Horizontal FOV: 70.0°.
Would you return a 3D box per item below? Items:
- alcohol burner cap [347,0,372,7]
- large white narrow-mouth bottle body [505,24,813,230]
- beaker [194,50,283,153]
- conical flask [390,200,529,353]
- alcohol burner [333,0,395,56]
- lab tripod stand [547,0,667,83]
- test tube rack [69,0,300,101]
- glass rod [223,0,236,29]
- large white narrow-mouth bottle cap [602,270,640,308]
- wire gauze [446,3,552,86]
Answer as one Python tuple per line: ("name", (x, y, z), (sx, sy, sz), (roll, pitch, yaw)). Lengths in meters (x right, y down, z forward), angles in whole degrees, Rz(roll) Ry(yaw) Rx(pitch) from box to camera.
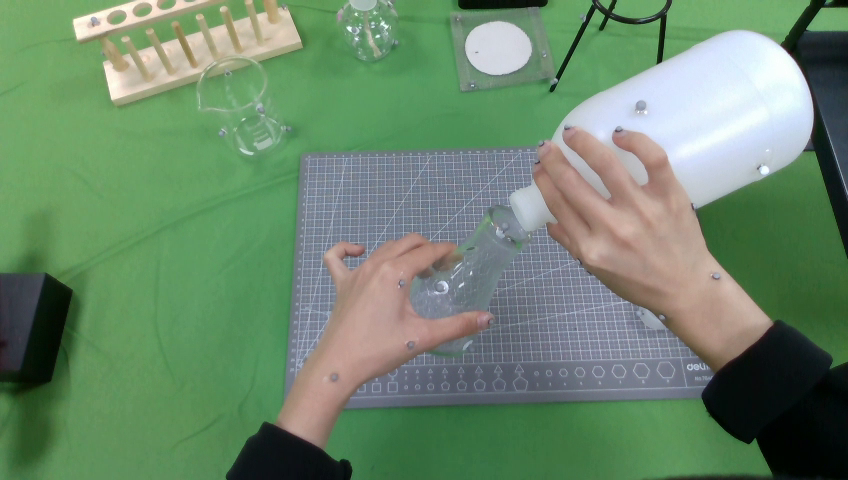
("alcohol burner cap", (-0.075, -0.300, 0.702), (0.034, 0.048, 0.033), (3, 65, -7))
("large white narrow-mouth bottle body", (0.149, -0.063, 0.418), (0.194, 0.102, 0.101), (-25, 67, 1))
("beaker", (-0.207, -0.150, 0.686), (0.084, 0.101, 0.073), (-42, 71, -15))
("conical flask", (0.031, 0.024, 0.456), (0.076, 0.122, 0.074), (21, 39, -18))
("alcohol burner", (-0.074, -0.283, 0.735), (0.078, 0.120, 0.077), (0, 64, 0))
("lab tripod stand", (0.222, -0.246, 0.705), (0.148, 0.132, 0.147), (1, 66, -1))
("test tube rack", (-0.285, -0.257, 0.741), (0.242, 0.086, 0.066), (-20, 68, -8))
("glass rod", (-0.239, -0.318, 0.694), (0.008, 0.201, 0.008), (2, 64, -3))
("large white narrow-mouth bottle cap", (0.207, 0.052, 0.637), (0.038, 0.024, 0.037), (-1, 66, 3))
("wire gauze", (0.095, -0.256, 0.778), (0.121, 0.011, 0.124), (-6, 66, -3))
